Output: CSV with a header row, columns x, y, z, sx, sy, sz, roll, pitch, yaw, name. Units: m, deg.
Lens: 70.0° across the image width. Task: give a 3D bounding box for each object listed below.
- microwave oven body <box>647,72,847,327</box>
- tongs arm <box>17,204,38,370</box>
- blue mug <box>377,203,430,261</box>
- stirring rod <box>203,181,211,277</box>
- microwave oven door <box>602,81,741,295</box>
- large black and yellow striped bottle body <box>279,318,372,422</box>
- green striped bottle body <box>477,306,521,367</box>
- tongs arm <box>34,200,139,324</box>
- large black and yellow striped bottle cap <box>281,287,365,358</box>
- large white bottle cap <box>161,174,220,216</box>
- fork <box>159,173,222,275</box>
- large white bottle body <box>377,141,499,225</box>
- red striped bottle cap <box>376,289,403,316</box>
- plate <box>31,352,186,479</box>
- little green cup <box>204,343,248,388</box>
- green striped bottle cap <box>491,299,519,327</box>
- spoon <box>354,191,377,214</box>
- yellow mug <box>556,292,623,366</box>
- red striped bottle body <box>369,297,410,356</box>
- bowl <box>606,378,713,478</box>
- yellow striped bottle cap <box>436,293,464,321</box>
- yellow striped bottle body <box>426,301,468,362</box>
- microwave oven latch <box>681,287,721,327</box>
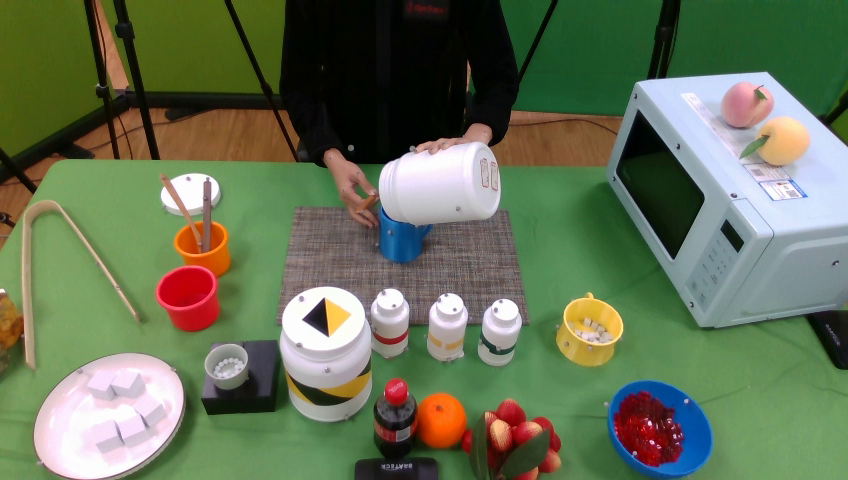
x,y,z,sx,sy,sz,roll,pitch,yaw,name
0.607,-0.089,1.164,0.326,0.261,0.438,-7,46,-10,microwave oven body
-0.698,0.069,1.069,0.028,0.028,0.385,-20,50,-13,tongs arm
-0.033,-0.029,1.159,0.116,0.106,0.082,-23,52,-23,blue mug
-0.396,-0.021,1.107,0.014,0.006,0.176,-1,89,-1,stirring rod
0.456,-0.107,1.162,0.039,0.245,0.353,-7,47,-11,microwave oven door
-0.145,0.173,0.908,0.131,0.185,0.130,2,46,-2,large black and yellow striped bottle body
0.124,0.151,0.995,0.063,0.120,0.063,2,46,-2,green striped bottle body
-0.622,0.034,1.105,0.051,0.026,0.382,-32,56,-26,tongs arm
-0.141,0.112,0.847,0.115,0.019,0.114,5,45,-4,large black and yellow striped bottle cap
-0.483,-0.095,1.253,0.115,0.018,0.114,2,46,-2,large white bottle cap
-0.427,-0.029,1.103,0.028,0.018,0.207,-31,99,-30,fork
0.023,-0.094,1.046,0.184,0.131,0.130,-4,40,28,large white bottle body
-0.054,0.098,0.958,0.044,0.018,0.044,-1,48,1,red striped bottle cap
-0.459,0.262,0.898,0.209,0.038,0.208,2,46,-2,plate
-0.294,0.190,0.909,0.061,0.039,0.061,1,48,-1,little green cup
0.128,0.115,0.958,0.044,0.020,0.044,1,46,-1,green striped bottle cap
-0.091,-0.085,1.151,0.041,0.022,0.193,6,20,19,spoon
0.285,0.145,1.051,0.100,0.064,0.130,8,45,3,yellow mug
-0.059,0.135,0.997,0.063,0.120,0.062,6,49,-7,red striped bottle body
0.340,0.292,0.906,0.151,0.077,0.150,2,46,-2,bowl
0.041,0.106,0.959,0.044,0.019,0.044,-1,49,1,yellow striped bottle cap
0.037,0.142,0.996,0.063,0.121,0.062,3,46,-2,yellow striped bottle body
0.494,0.119,1.087,0.030,0.029,0.078,-6,46,-9,microwave oven latch
